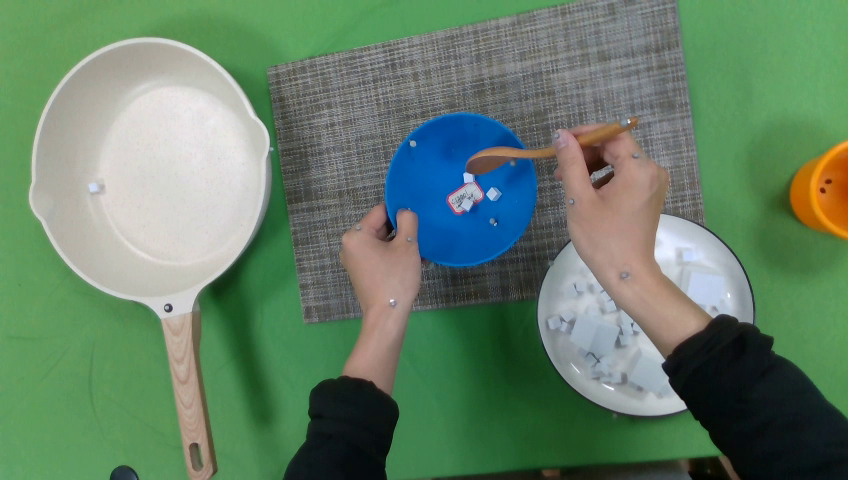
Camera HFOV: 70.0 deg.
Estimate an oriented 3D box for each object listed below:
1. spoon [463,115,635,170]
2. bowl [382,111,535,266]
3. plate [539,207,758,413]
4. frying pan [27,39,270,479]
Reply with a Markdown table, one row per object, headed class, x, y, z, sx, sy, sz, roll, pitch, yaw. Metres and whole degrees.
| class | x | y | z | sx | sy | sz | roll | pitch | yaw |
| --- | --- | --- | --- | --- | --- | --- | --- | --- | --- |
| spoon | 0.098 | -0.079 | 0.511 | 0.042 | 0.192 | 0.021 | 2 | 89 | -33 |
| bowl | 0.040 | -0.048 | 0.619 | 0.151 | 0.077 | 0.151 | 0 | 89 | 12 |
| plate | 0.223 | 0.070 | 0.619 | 0.207 | 0.039 | 0.208 | 1 | 95 | 11 |
| frying pan | -0.287 | 0.025 | 0.685 | 0.306 | 0.103 | 0.486 | -12 | 82 | 12 |
